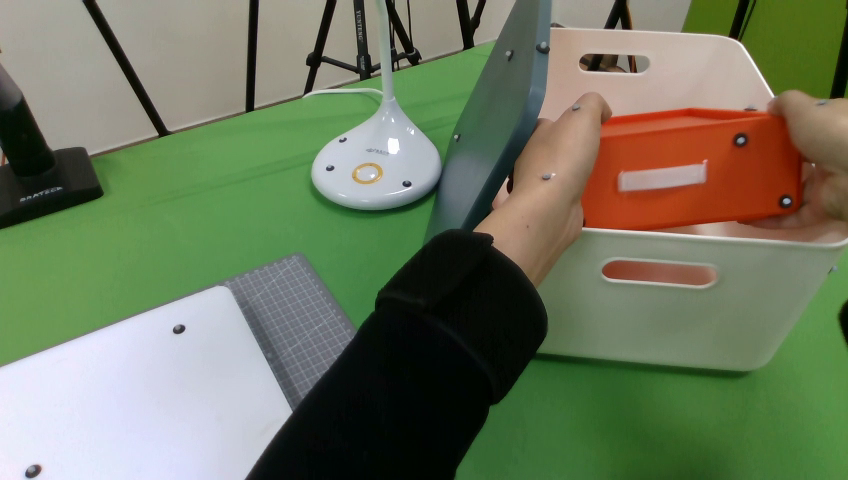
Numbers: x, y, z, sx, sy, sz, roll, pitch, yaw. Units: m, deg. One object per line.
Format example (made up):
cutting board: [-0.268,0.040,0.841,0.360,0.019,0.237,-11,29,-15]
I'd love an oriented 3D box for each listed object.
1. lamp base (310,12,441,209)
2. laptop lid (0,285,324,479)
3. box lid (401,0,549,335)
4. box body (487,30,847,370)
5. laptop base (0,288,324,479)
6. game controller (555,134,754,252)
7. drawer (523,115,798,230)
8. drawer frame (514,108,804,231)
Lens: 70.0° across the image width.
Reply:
lamp base: [-0.060,-0.156,0.701,0.160,0.182,0.177,4,39,6]
laptop lid: [-0.277,0.167,0.435,0.357,0.013,0.239,-21,47,-22]
box lid: [0.055,-0.107,0.591,0.015,0.264,0.368,22,41,-6]
box body: [0.195,-0.059,0.599,0.254,0.162,0.361,4,41,6]
laptop base: [-0.279,0.174,0.444,0.355,0.023,0.233,-22,49,-23]
game controller: [0.188,-0.047,0.514,0.155,0.052,0.096,-9,43,3]
drawer: [0.187,-0.069,0.551,0.194,0.073,0.211,-7,14,6]
drawer frame: [0.187,-0.070,0.552,0.201,0.083,0.213,-6,12,5]
